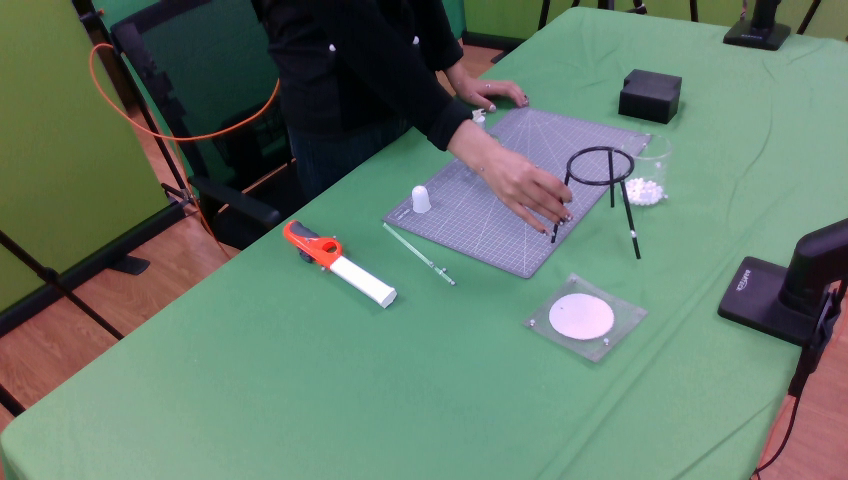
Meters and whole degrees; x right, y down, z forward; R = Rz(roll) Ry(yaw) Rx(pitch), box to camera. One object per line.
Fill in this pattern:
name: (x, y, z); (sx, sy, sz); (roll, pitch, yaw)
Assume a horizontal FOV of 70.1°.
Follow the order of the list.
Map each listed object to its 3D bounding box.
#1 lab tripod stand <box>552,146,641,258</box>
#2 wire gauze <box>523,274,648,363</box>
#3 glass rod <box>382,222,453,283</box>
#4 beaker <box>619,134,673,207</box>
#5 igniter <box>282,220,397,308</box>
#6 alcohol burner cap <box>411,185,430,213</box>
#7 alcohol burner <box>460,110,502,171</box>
lab tripod stand: (0.257, -0.056, 0.866); (0.148, 0.132, 0.147); (-6, 40, 6)
wire gauze: (0.220, 0.105, 0.828); (0.125, 0.011, 0.120); (-35, 47, -30)
glass rod: (-0.014, 0.016, 0.976); (0.008, 0.008, 0.198); (-30, 44, -22)
beaker: (0.357, -0.110, 0.986); (0.084, 0.101, 0.073); (-10, 40, 1)
igniter: (-0.145, 0.032, 0.966); (0.274, 0.025, 0.057); (30, 64, 37)
alcohol burner cap: (-0.008, -0.074, 1.050); (0.034, 0.048, 0.033); (-4, 40, 4)
alcohol burner: (0.103, -0.186, 1.105); (0.078, 0.119, 0.077); (-4, 42, 4)
